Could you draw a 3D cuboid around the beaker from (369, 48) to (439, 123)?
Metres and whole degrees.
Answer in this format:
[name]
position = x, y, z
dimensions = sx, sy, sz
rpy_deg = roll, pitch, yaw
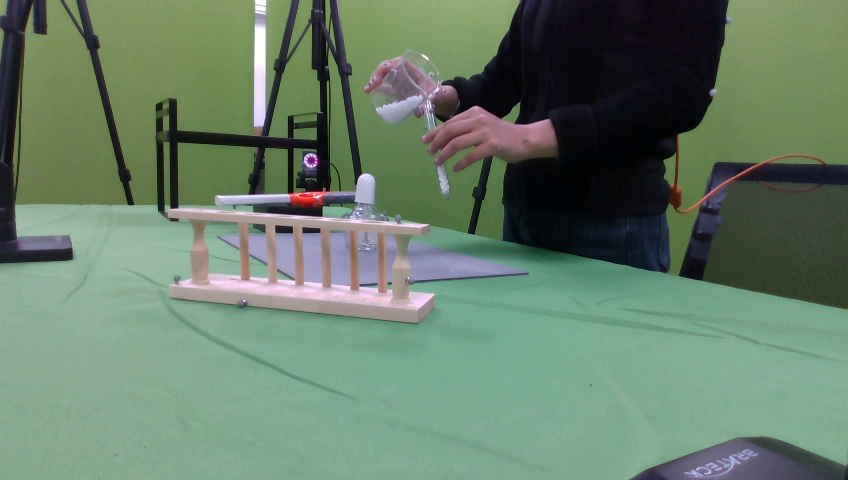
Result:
[beaker]
position = -0.033, -0.236, 0.949
dimensions = 0.074, 0.084, 0.100
rpy_deg = -11, -18, -43

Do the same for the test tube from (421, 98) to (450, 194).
[test tube]
position = 0.017, -0.140, 0.891
dimensions = 0.017, 0.150, 0.017
rpy_deg = -11, -12, -2

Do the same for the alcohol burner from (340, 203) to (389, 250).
[alcohol burner]
position = -0.094, -0.045, 0.939
dimensions = 0.078, 0.119, 0.078
rpy_deg = 0, 7, 0

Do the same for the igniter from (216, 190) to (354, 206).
[igniter]
position = -0.248, -0.079, 1.151
dimensions = 0.278, 0.025, 0.057
rpy_deg = -4, 11, -27

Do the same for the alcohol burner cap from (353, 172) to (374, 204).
[alcohol burner cap]
position = -0.092, -0.081, 0.935
dimensions = 0.034, 0.048, 0.034
rpy_deg = 7, 10, -1

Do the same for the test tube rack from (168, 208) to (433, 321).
[test tube rack]
position = -0.116, 0.017, 0.574
dimensions = 0.242, 0.085, 0.067
rpy_deg = 4, 8, 13
